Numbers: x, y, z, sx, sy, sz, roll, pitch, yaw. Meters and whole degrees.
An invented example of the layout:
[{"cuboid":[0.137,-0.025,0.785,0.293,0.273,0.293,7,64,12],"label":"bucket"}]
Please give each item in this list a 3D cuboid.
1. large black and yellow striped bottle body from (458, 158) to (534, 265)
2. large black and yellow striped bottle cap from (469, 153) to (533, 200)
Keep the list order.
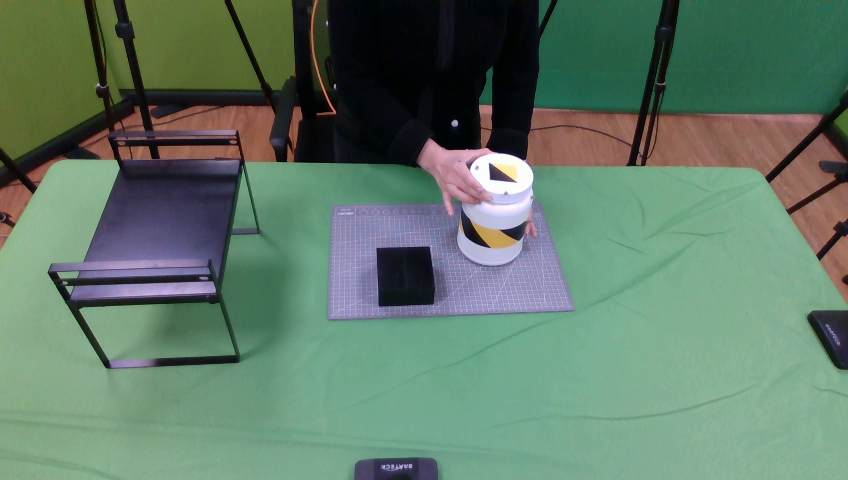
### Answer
[{"cuboid":[0.135,-0.057,1.144,0.131,0.185,0.130,2,46,-2],"label":"large black and yellow striped bottle body"},{"cuboid":[0.138,-0.115,1.083,0.115,0.019,0.114,3,46,-3],"label":"large black and yellow striped bottle cap"}]
